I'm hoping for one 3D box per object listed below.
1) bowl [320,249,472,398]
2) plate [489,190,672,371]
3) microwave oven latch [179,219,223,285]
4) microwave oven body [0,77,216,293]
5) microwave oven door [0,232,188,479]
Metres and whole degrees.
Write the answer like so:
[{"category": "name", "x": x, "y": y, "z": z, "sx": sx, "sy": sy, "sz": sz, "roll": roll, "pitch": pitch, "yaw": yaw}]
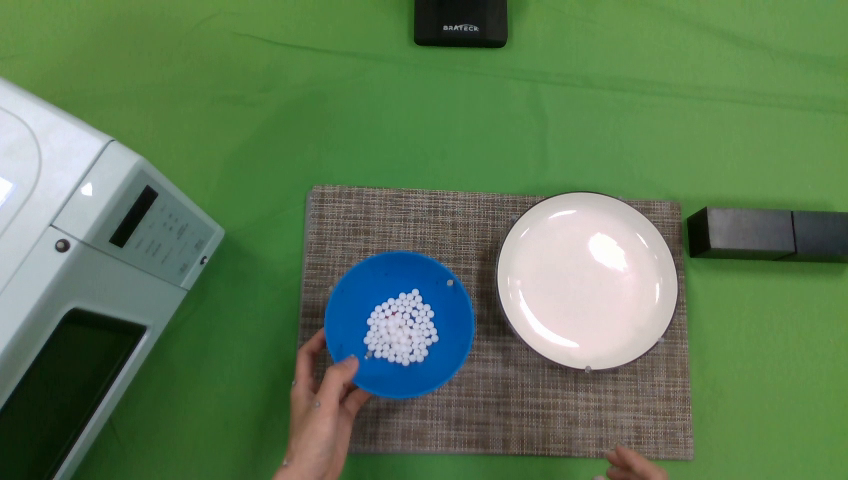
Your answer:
[{"category": "bowl", "x": -0.030, "y": 0.093, "z": 0.632, "sx": 0.151, "sy": 0.077, "sz": 0.150, "roll": 2, "pitch": 70, "yaw": -4}, {"category": "plate", "x": 0.177, "y": 0.047, "z": 0.699, "sx": 0.208, "sy": 0.039, "sz": 0.206, "roll": 1, "pitch": 77, "yaw": -3}, {"category": "microwave oven latch", "x": -0.256, "y": 0.009, "z": 0.672, "sx": 0.030, "sy": 0.029, "sz": 0.079, "roll": 30, "pitch": 78, "yaw": 4}, {"category": "microwave oven body", "x": -0.466, "y": 0.069, "z": 0.550, "sx": 0.326, "sy": 0.261, "sz": 0.440, "roll": 28, "pitch": 78, "yaw": 3}, {"category": "microwave oven door", "x": -0.357, "y": 0.172, "z": 0.527, "sx": 0.039, "sy": 0.244, "sz": 0.355, "roll": 28, "pitch": 77, "yaw": 5}]
